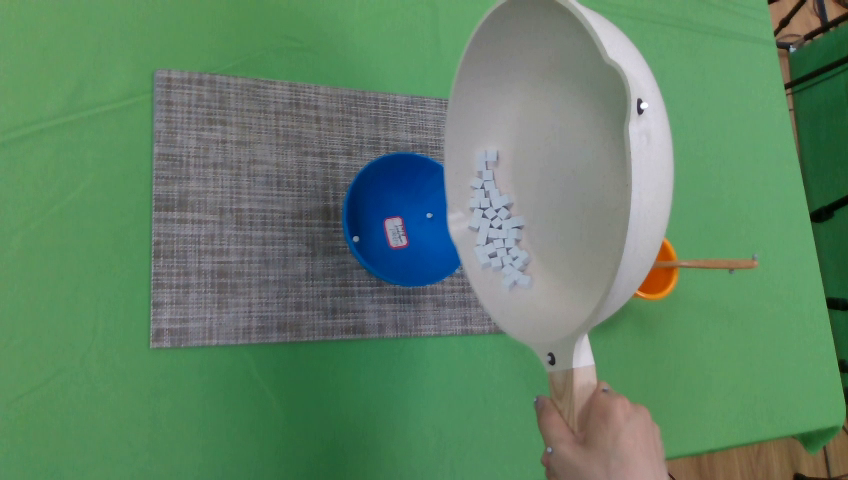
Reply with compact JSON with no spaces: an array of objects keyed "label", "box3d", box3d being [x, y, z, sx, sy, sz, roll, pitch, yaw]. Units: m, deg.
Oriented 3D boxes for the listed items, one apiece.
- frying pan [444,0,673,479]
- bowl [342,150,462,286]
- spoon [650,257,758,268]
[{"label":"frying pan","box3d":[0.108,0.042,0.496,0.103,0.307,0.485,2,75,-18]},{"label":"bowl","box3d":[-0.025,-0.018,0.684,0.152,0.077,0.150,4,78,-20]},{"label":"spoon","box3d":[0.318,0.030,0.773,0.022,0.193,0.041,30,62,-61]}]
